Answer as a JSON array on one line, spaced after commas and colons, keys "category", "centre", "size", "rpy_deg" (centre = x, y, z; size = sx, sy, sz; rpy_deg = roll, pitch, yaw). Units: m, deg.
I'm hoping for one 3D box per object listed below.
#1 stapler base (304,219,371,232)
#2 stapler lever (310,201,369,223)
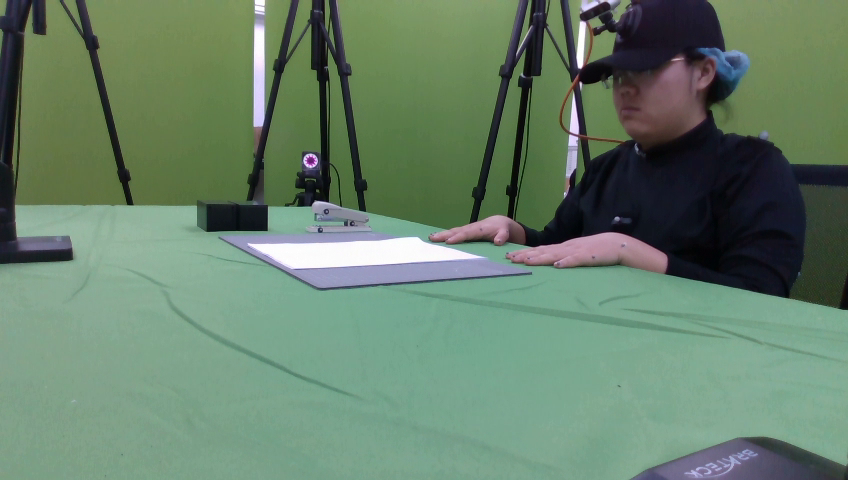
[{"category": "stapler base", "centre": [-0.169, -0.030, 1.186], "size": [0.131, 0.024, 0.041], "rpy_deg": [0, 9, -33]}, {"category": "stapler lever", "centre": [-0.166, -0.055, 1.184], "size": [0.119, 0.040, 0.026], "rpy_deg": [1, 9, -33]}]
